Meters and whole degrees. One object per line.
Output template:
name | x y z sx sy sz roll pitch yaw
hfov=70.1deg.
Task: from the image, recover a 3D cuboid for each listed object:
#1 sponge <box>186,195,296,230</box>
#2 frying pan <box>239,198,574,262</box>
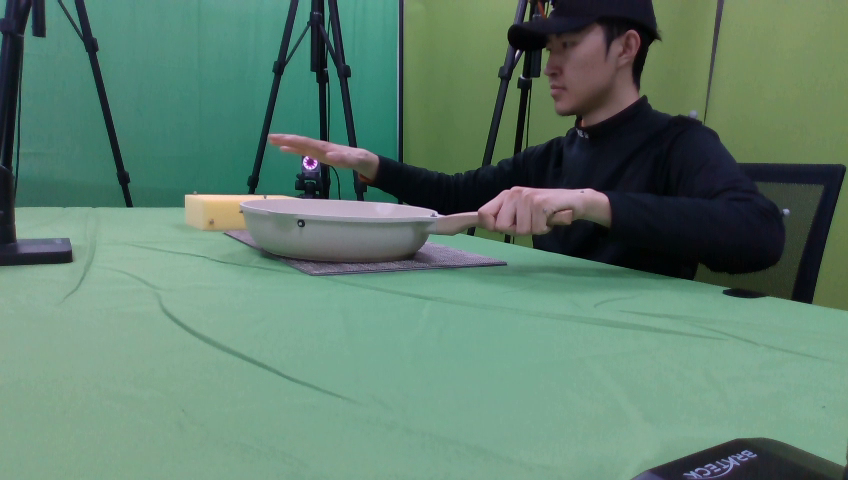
sponge | -0.358 -0.057 1.219 0.208 0.061 0.117 -3 8 -37
frying pan | -0.032 -0.025 0.867 0.486 0.102 0.308 -3 5 25
